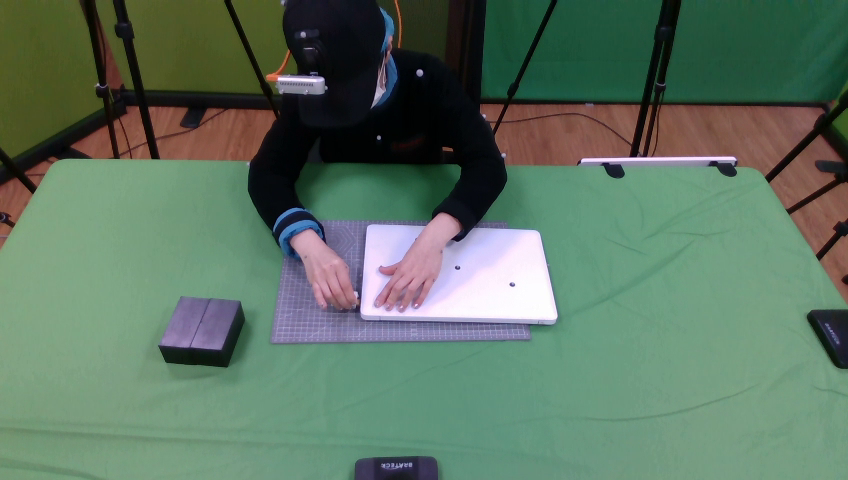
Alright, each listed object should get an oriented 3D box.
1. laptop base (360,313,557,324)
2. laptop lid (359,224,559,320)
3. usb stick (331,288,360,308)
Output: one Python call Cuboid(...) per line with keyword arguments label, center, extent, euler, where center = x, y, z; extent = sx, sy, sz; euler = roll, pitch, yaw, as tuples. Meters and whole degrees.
Cuboid(label="laptop base", center=(0.062, 0.063, 1.145), extent=(0.354, 0.023, 0.234), euler=(2, 43, -3))
Cuboid(label="laptop lid", center=(0.062, 0.054, 1.139), extent=(0.357, 0.013, 0.240), euler=(3, 44, -2))
Cuboid(label="usb stick", center=(-0.134, 0.104, 1.070), extent=(0.059, 0.027, 0.021), euler=(10, 40, -2))
